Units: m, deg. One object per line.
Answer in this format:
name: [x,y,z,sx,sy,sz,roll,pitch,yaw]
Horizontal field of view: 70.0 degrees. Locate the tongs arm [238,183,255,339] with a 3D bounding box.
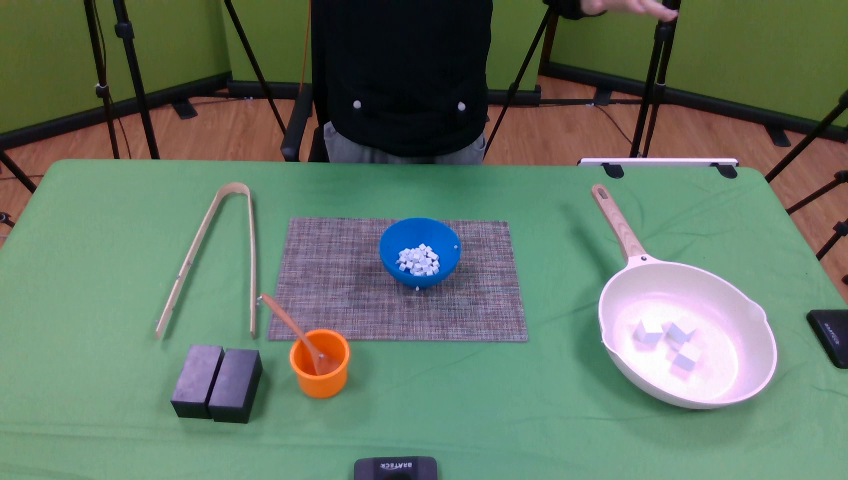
tongs arm: [-0.334,0.025,1.146,0.028,0.028,0.385,-9,48,-10]

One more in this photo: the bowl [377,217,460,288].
bowl: [-0.011,0.036,1.118,0.151,0.077,0.150,2,46,-2]

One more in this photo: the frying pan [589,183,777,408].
frying pan: [0.412,0.079,1.096,0.307,0.103,0.484,-8,56,-13]

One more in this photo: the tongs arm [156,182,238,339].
tongs arm: [-0.415,0.023,1.134,0.051,0.026,0.382,3,45,-3]

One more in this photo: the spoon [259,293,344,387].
spoon: [-0.191,0.155,0.947,0.021,0.194,0.041,-12,28,51]
